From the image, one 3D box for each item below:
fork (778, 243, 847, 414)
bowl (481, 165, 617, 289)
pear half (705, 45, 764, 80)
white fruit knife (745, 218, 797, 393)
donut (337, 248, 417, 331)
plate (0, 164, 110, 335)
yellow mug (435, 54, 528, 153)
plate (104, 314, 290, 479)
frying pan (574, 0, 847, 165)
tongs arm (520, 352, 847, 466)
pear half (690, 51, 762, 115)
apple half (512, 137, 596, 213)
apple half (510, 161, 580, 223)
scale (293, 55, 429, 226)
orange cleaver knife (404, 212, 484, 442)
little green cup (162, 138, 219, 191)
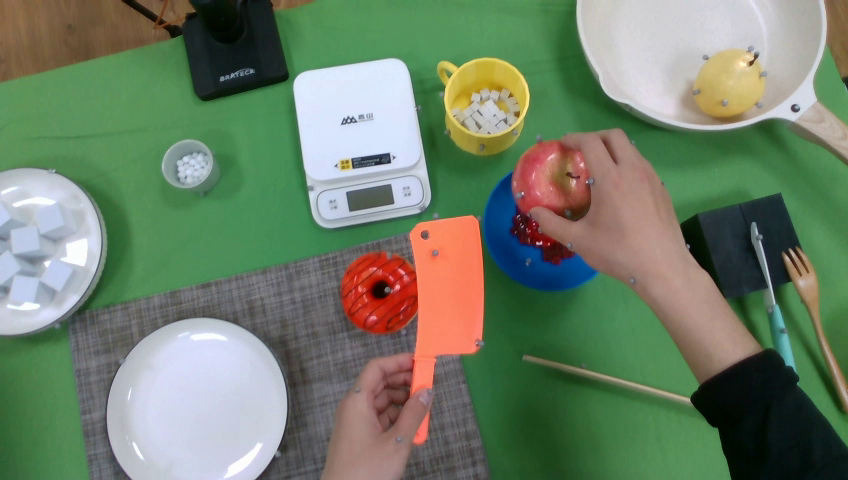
[{"bbox_3d":[0.443,0.101,0.679,0.028,0.018,0.207,-23,95,-5],"label":"fork"},{"bbox_3d":[0.138,-0.014,0.702,0.151,0.077,0.151,0,80,2],"label":"bowl"},{"bbox_3d":[0.370,-0.212,0.719,0.070,0.088,0.031,20,82,9],"label":"pear half"},{"bbox_3d":[0.385,0.075,0.677,0.016,0.027,0.207,-16,94,0],"label":"white fruit knife"},{"bbox_3d":[-0.053,0.057,0.707,0.099,0.048,0.098,-1,80,4],"label":"donut"},{"bbox_3d":[-0.481,0.012,0.735,0.207,0.039,0.206,0,80,2],"label":"plate"},{"bbox_3d":[0.061,-0.175,0.738,0.130,0.064,0.100,43,84,9],"label":"yellow mug"},{"bbox_3d":[-0.254,0.189,0.693,0.209,0.038,0.208,0,80,2],"label":"plate"},{"bbox_3d":[0.391,-0.192,0.713,0.307,0.103,0.484,-40,73,-4],"label":"frying pan"},{"bbox_3d":[0.296,0.187,0.682,0.387,0.028,0.028,16,75,4],"label":"tongs arm"},{"bbox_3d":[0.354,-0.182,0.705,0.076,0.110,0.056,22,82,9],"label":"pear half"},{"bbox_3d":[0.130,-0.067,0.579,0.081,0.075,0.053,39,82,0],"label":"apple half"},{"bbox_3d":[0.106,-0.037,0.574,0.081,0.081,0.033,38,81,8],"label":"apple half"},{"bbox_3d":[-0.080,-0.125,0.751,0.149,0.031,0.200,-10,80,1],"label":"scale"},{"bbox_3d":[0.018,0.076,0.553,0.077,0.012,0.210,5,83,-12],"label":"orange cleaver knife"},{"bbox_3d":[-0.285,-0.091,0.748,0.061,0.039,0.061,0,79,2],"label":"little green cup"}]
